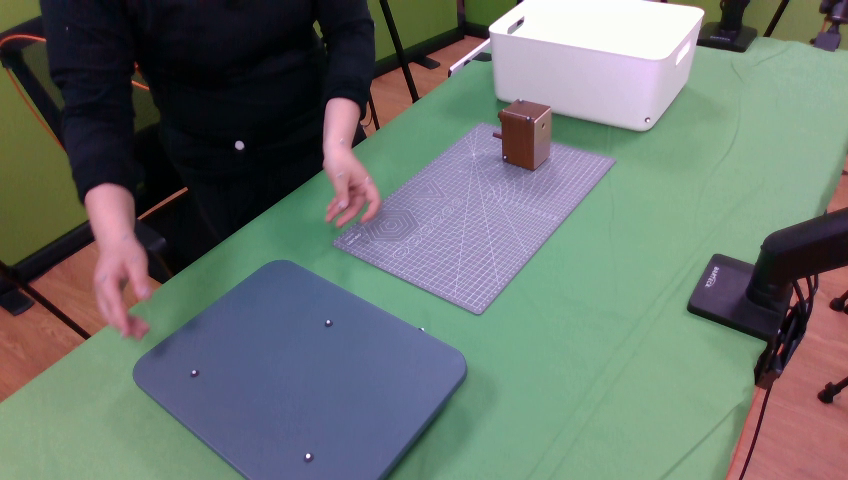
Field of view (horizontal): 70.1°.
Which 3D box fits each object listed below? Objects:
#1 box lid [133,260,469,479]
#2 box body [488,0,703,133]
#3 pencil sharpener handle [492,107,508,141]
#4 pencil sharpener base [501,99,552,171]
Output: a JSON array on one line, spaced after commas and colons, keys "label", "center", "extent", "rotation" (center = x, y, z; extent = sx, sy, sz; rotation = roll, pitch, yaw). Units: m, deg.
[{"label": "box lid", "center": [-0.156, 0.160, 0.747], "extent": [0.368, 0.015, 0.264], "rotation": [23, 49, 31]}, {"label": "box body", "center": [0.346, -0.374, 1.251], "extent": [0.361, 0.161, 0.255], "rotation": [20, 48, 29]}, {"label": "pencil sharpener handle", "center": [0.141, -0.215, 1.114], "extent": [0.030, 0.068, 0.036], "rotation": [22, 42, 32]}, {"label": "pencil sharpener base", "center": [0.184, -0.191, 1.097], "extent": [0.076, 0.107, 0.061], "rotation": [22, 50, 32]}]
